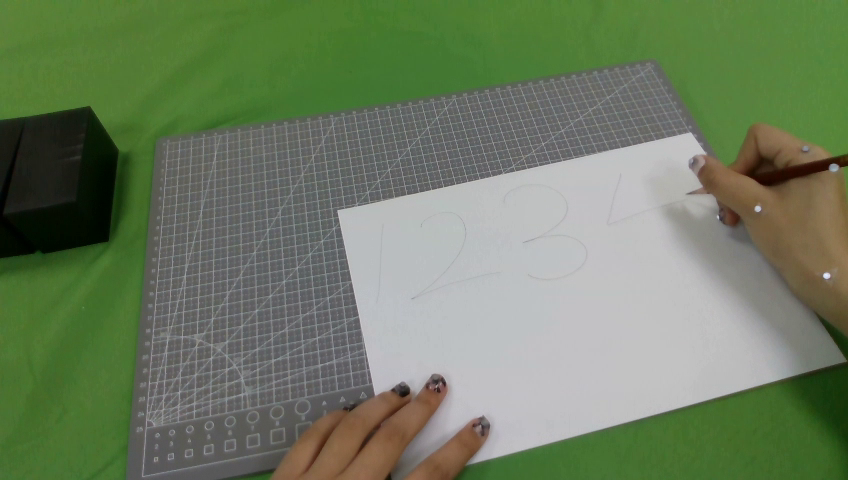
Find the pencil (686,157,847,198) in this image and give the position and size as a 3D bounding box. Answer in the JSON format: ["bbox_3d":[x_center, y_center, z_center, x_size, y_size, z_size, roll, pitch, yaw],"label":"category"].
[{"bbox_3d":[0.242,-0.043,0.372,0.012,0.193,0.012,4,82,-27],"label":"pencil"}]
